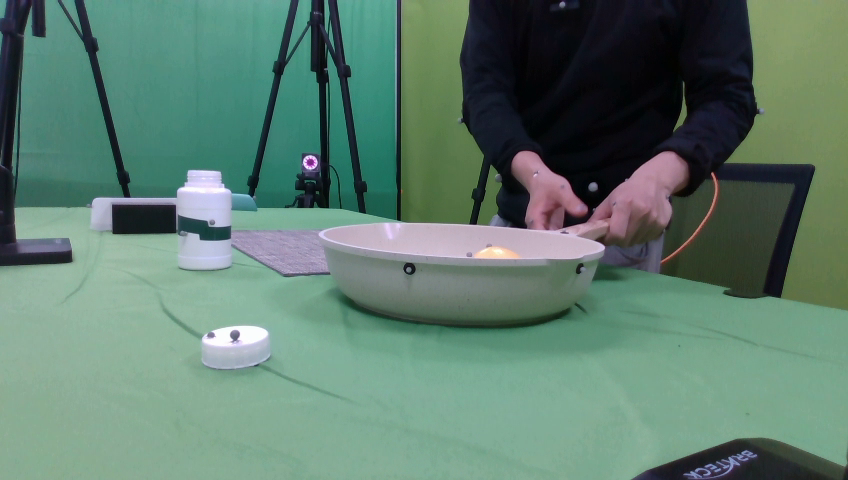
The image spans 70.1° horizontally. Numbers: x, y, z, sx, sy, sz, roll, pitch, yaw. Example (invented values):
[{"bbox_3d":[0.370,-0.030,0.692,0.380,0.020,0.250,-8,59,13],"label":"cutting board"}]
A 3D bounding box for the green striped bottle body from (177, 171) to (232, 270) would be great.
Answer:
[{"bbox_3d":[-0.273,-0.026,0.752,0.063,0.119,0.063,2,7,0],"label":"green striped bottle body"}]

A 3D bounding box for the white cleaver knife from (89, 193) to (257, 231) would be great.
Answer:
[{"bbox_3d":[-0.454,-0.052,1.115,0.288,0.066,0.021,-4,14,-27],"label":"white cleaver knife"}]

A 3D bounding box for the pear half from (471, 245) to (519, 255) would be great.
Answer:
[{"bbox_3d":[0.071,0.032,0.653,0.077,0.056,0.109,5,2,-25],"label":"pear half"}]

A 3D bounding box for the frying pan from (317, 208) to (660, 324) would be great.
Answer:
[{"bbox_3d":[0.121,0.005,0.691,0.490,0.102,0.305,-13,15,-33],"label":"frying pan"}]

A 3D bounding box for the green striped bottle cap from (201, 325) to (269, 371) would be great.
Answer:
[{"bbox_3d":[-0.129,0.073,0.415,0.044,0.020,0.044,2,8,0],"label":"green striped bottle cap"}]

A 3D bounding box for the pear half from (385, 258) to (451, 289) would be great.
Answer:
[{"bbox_3d":[-0.003,0.036,0.681,0.070,0.031,0.088,13,16,37],"label":"pear half"}]
